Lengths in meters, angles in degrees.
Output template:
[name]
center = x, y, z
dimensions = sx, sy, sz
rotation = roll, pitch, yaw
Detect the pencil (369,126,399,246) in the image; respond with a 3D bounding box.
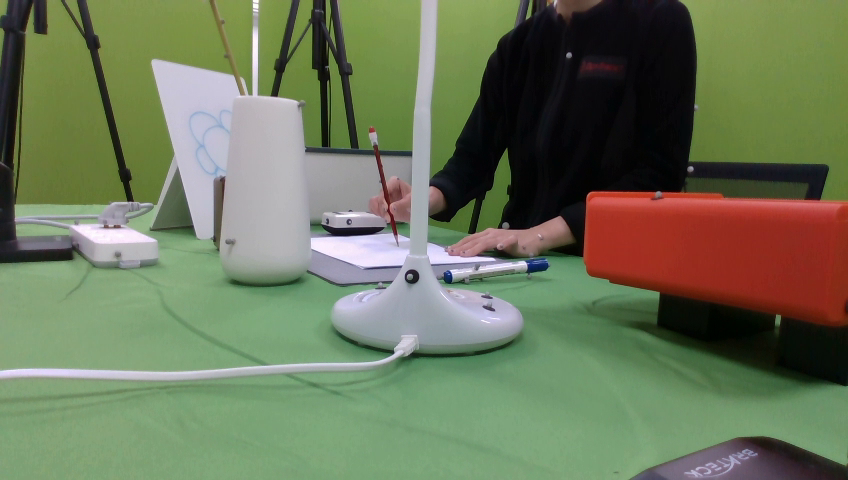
[pencil]
center = -0.062, -0.084, 0.959
dimensions = 0.012, 0.194, 0.012
rotation = -12, 8, 2

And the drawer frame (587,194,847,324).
[drawer frame]
center = 0.286, 0.004, 0.508
dimensions = 0.203, 0.082, 0.212
rotation = -1, 6, -30

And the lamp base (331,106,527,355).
[lamp base]
center = 0.006, -0.012, 0.478
dimensions = 0.161, 0.180, 0.179
rotation = 2, 10, 2

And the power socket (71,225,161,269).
[power socket]
center = -0.408, 0.004, 0.793
dimensions = 0.072, 0.032, 0.225
rotation = -2, 8, -38

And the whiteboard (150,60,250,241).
[whiteboard]
center = -0.408, -0.139, 1.093
dimensions = 0.143, 0.305, 0.218
rotation = -15, -1, 26

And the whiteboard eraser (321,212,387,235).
[whiteboard eraser]
center = -0.128, -0.031, 1.108
dimensions = 0.113, 0.042, 0.055
rotation = -3, 7, -38

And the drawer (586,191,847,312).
[drawer]
center = 0.281, 0.001, 0.513
dimensions = 0.195, 0.073, 0.210
rotation = -1, 8, -29

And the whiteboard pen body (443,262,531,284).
[whiteboard pen body]
center = 0.087, 0.038, 0.734
dimensions = 0.141, 0.017, 0.017
rotation = -5, 10, -27

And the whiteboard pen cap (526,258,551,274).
[whiteboard pen cap]
center = 0.141, 0.033, 0.759
dimensions = 0.033, 0.018, 0.018
rotation = -7, 11, -26

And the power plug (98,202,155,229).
[power plug]
center = -0.416, -0.027, 0.848
dimensions = 0.073, 0.052, 0.035
rotation = 0, 8, -28

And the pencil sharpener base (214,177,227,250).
[pencil sharpener base]
center = -0.265, -0.036, 0.870
dimensions = 0.061, 0.107, 0.076
rotation = -2, 8, -29

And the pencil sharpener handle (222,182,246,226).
[pencil sharpener handle]
center = -0.289, -0.055, 0.912
dimensions = 0.036, 0.067, 0.030
rotation = -3, 9, -29

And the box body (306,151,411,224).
[box body]
center = -0.230, -0.126, 1.371
dimensions = 0.366, 0.160, 0.253
rotation = -2, 8, -33

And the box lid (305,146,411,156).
[box lid]
center = -0.229, -0.200, 1.360
dimensions = 0.373, 0.015, 0.262
rotation = -3, 9, -33

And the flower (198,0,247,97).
[flower]
center = -0.187, -0.133, 0.648
dimensions = 0.038, 0.362, 0.044
rotation = -1, 22, 43

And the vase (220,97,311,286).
[vase]
center = -0.172, -0.052, 0.662
dimensions = 0.098, 0.200, 0.098
rotation = 3, 8, 0
